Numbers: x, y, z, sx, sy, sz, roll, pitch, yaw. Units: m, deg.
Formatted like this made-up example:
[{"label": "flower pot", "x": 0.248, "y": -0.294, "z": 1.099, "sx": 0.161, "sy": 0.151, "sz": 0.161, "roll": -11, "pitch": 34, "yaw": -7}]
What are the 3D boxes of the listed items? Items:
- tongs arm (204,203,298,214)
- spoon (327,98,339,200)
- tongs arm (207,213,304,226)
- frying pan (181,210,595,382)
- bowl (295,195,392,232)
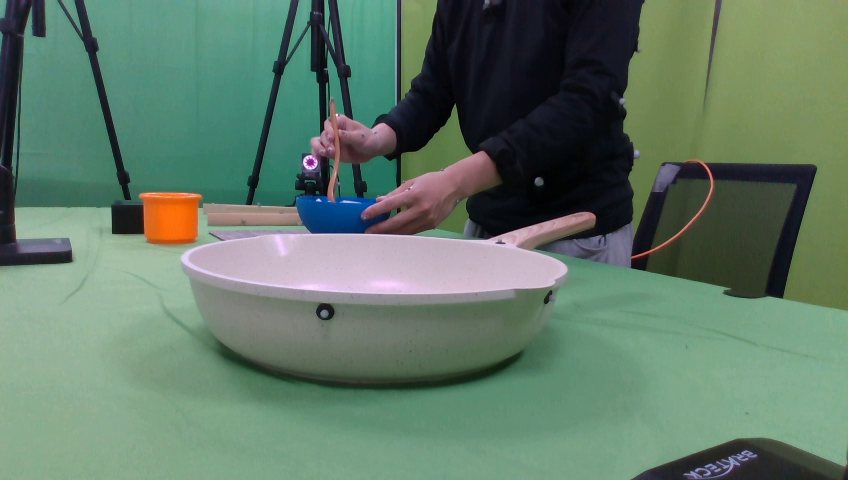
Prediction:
[{"label": "tongs arm", "x": -0.295, "y": -0.062, "z": 1.370, "sx": 0.386, "sy": 0.026, "sz": 0.050, "roll": 1, "pitch": 9, "yaw": -19}, {"label": "spoon", "x": -0.143, "y": -0.133, "z": 0.965, "sx": 0.021, "sy": 0.193, "sz": 0.041, "roll": 0, "pitch": -7, "yaw": -2}, {"label": "tongs arm", "x": -0.264, "y": -0.046, "z": 1.297, "sx": 0.390, "sy": 0.028, "sz": 0.028, "roll": -2, "pitch": 7, "yaw": -32}, {"label": "frying pan", "x": 0.034, "y": 0.019, "z": 0.557, "sx": 0.305, "sy": 0.102, "sz": 0.490, "roll": 10, "pitch": 19, "yaw": 42}, {"label": "bowl", "x": -0.127, "y": -0.028, "z": 0.948, "sx": 0.151, "sy": 0.077, "sz": 0.151, "roll": 3, "pitch": 7, "yaw": 0}]
